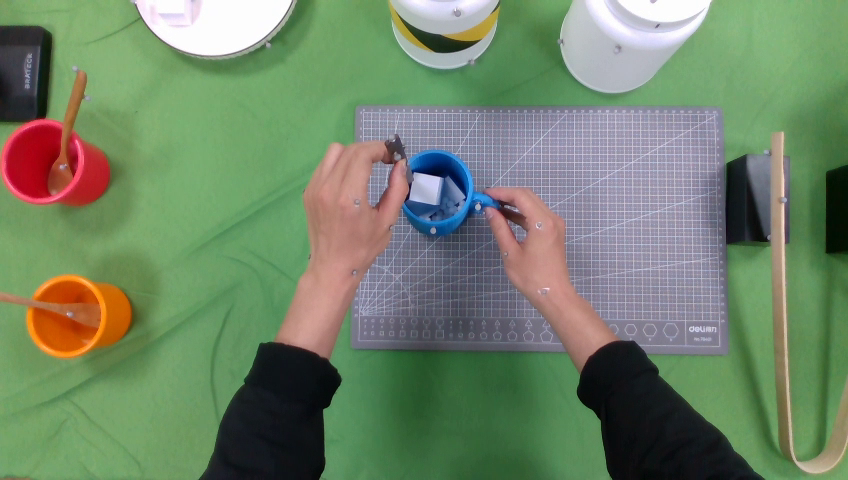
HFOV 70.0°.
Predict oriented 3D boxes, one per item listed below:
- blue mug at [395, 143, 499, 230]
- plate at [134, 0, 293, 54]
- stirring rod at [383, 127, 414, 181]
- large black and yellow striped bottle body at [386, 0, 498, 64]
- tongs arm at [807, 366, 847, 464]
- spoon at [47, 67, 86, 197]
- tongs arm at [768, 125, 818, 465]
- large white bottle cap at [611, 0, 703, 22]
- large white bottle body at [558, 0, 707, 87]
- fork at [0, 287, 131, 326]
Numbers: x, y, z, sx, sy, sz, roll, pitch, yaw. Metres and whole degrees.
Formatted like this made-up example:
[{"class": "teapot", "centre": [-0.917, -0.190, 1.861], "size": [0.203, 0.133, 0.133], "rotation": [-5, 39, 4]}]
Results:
[{"class": "blue mug", "centre": [0.028, -0.054, 0.688], "size": [0.116, 0.106, 0.082], "rotation": [11, 86, 2]}, {"class": "plate", "centre": [-0.255, -0.328, 0.749], "size": [0.207, 0.039, 0.207], "rotation": [0, 86, 1]}, {"class": "stirring rod", "centre": [-0.022, -0.078, 0.573], "size": [0.014, 0.176, 0.006], "rotation": [-41, 83, -1]}, {"class": "large black and yellow striped bottle body", "centre": [0.020, -0.288, 0.668], "size": [0.131, 0.184, 0.130], "rotation": [0, 85, 2]}, {"class": "tongs arm", "centre": [0.494, 0.066, 0.674], "size": [0.028, 0.027, 0.388], "rotation": [9, 98, -6]}, {"class": "spoon", "centre": [-0.403, -0.118, 0.685], "size": [0.041, 0.021, 0.194], "rotation": [47, 132, 7]}, {"class": "tongs arm", "centre": [0.412, 0.065, 0.674], "size": [0.051, 0.026, 0.385], "rotation": [-4, 98, -1]}, {"class": "large white bottle cap", "centre": [0.223, -0.266, 0.576], "size": [0.115, 0.018, 0.114], "rotation": [0, 85, 1]}, {"class": "large white bottle body", "centre": [0.226, -0.258, 0.660], "size": [0.130, 0.185, 0.130], "rotation": [0, 86, 1]}, {"class": "fork", "centre": [-0.435, 0.065, 0.671], "size": [0.209, 0.018, 0.028], "rotation": [22, 85, -40]}]
